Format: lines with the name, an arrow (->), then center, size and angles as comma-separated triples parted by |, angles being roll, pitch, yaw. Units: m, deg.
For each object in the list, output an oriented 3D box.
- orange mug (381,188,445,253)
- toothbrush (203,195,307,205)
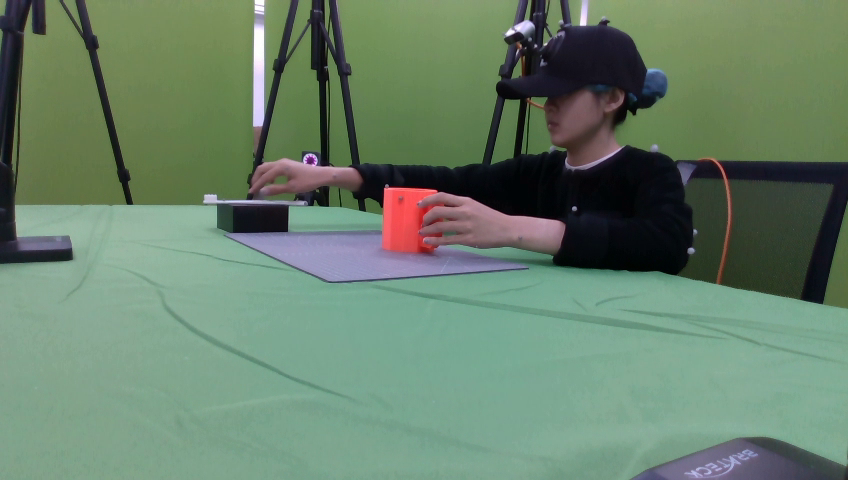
orange mug -> -0.013, -0.031, 0.941 | 0.084, 0.100, 0.125 | -2, 4, -37
toothbrush -> -0.306, -0.072, 1.104 | 0.183, 0.016, 0.014 | 1, 3, -22
